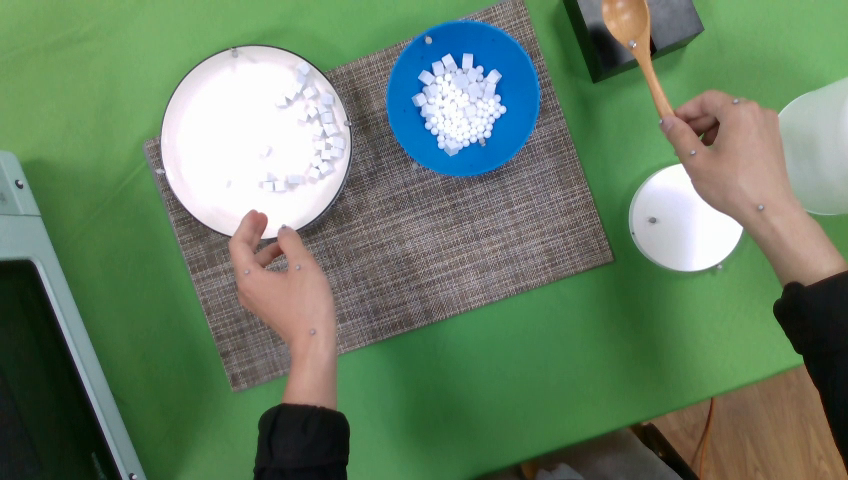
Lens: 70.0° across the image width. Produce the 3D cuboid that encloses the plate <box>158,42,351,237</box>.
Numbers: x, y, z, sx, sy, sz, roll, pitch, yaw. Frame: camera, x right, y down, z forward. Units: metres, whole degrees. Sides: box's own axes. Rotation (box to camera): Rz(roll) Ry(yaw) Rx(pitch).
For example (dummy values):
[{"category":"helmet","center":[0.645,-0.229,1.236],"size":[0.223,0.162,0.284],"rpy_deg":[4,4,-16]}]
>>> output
[{"category":"plate","center":[-0.180,-0.106,0.658],"size":[0.209,0.038,0.209],"rpy_deg":[0,92,4]}]

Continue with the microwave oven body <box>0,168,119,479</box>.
[{"category":"microwave oven body","center":[-0.538,0.157,0.582],"size":[0.326,0.260,0.441],"rpy_deg":[-22,91,4]}]

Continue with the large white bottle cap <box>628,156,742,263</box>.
[{"category":"large white bottle cap","center":[0.276,-0.032,0.643],"size":[0.115,0.018,0.115],"rpy_deg":[0,92,3]}]

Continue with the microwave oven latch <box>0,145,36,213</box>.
[{"category":"microwave oven latch","center":[-0.460,-0.065,0.664],"size":[0.030,0.029,0.079],"rpy_deg":[-22,91,4]}]

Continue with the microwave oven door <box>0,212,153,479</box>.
[{"category":"microwave oven door","center":[-0.388,0.141,0.566],"size":[0.039,0.244,0.355],"rpy_deg":[-23,90,5]}]

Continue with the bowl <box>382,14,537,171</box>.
[{"category":"bowl","center":[0.037,-0.142,0.621],"size":[0.151,0.077,0.151],"rpy_deg":[0,92,4]}]

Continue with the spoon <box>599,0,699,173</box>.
[{"category":"spoon","center":[0.203,-0.148,0.545],"size":[0.041,0.022,0.192],"rpy_deg":[-26,73,39]}]

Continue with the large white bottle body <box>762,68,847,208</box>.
[{"category":"large white bottle body","center":[0.411,-0.097,0.548],"size":[0.130,0.184,0.130],"rpy_deg":[0,92,4]}]
